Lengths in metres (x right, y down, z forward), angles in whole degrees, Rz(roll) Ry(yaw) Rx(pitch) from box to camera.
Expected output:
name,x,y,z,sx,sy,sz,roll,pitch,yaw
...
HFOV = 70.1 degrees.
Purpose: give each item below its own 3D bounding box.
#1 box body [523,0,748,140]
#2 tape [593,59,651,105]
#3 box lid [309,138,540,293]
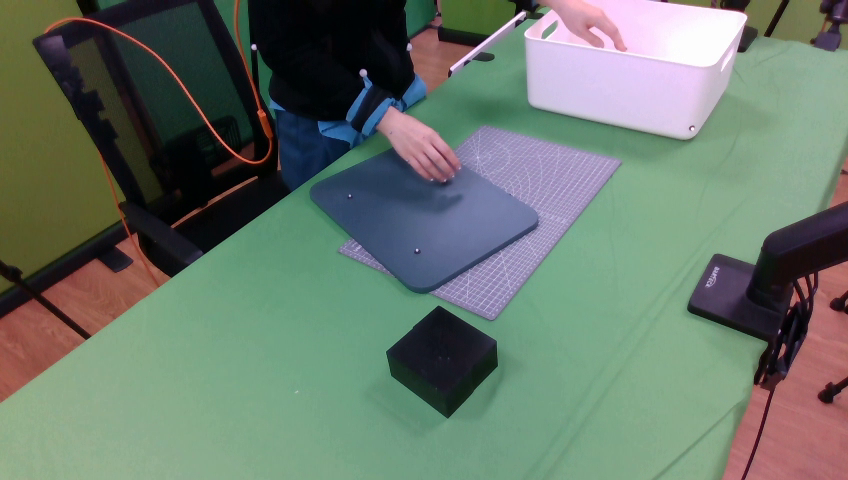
name,x,y,z,sx,sy,sz,roll,pitch,yaw
box body,0.412,-0.354,1.212,0.361,0.161,0.254,20,48,29
tape,0.409,-0.330,1.260,0.117,0.053,0.116,-5,40,4
box lid,-0.010,-0.060,1.045,0.264,0.015,0.368,-30,45,-24
